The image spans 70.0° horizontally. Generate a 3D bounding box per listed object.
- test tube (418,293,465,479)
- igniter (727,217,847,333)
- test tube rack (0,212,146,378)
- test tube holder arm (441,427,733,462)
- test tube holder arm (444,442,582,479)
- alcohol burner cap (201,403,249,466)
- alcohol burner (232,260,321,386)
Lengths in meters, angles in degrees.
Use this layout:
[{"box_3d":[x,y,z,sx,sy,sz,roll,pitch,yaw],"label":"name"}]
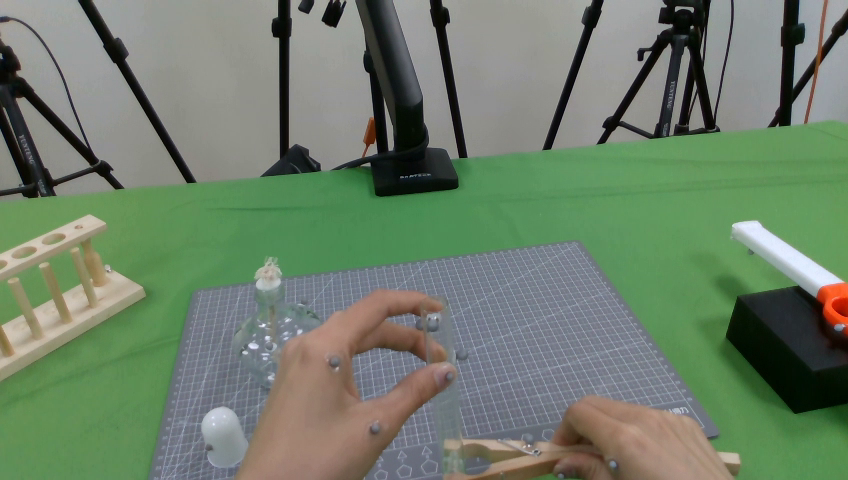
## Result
[{"box_3d":[0.012,0.093,0.350,0.017,0.151,0.017,-5,33,3],"label":"test tube"},{"box_3d":[0.365,0.049,0.536,0.057,0.025,0.273,-8,30,-8],"label":"igniter"},{"box_3d":[-0.404,0.069,0.579,0.066,0.086,0.242,20,39,30],"label":"test tube rack"},{"box_3d":[0.100,0.129,0.380,0.178,0.015,0.013,-7,46,6],"label":"test tube holder arm"},{"box_3d":[0.056,0.140,0.378,0.088,0.015,0.010,-17,45,-5],"label":"test tube holder arm"},{"box_3d":[-0.159,0.150,0.477,0.034,0.048,0.033,-1,33,1],"label":"alcohol burner cap"},{"box_3d":[-0.132,0.069,0.534,0.078,0.120,0.077,-1,31,1],"label":"alcohol burner"}]
